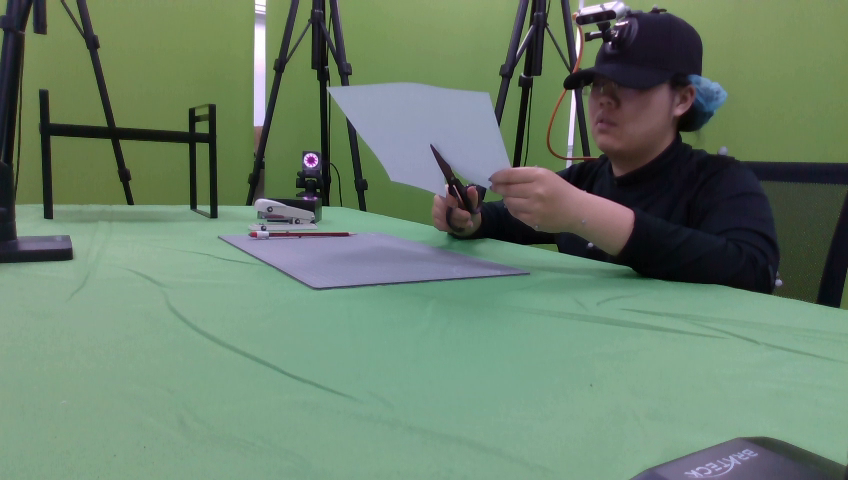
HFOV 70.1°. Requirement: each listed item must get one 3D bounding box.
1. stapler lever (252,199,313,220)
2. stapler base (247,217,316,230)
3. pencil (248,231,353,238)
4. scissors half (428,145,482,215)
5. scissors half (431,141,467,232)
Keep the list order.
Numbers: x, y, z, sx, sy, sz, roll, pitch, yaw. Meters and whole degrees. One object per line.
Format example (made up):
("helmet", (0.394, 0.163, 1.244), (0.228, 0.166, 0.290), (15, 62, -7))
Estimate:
("stapler lever", (-0.273, -0.058, 1.170), (0.119, 0.040, 0.026), (0, 10, -37))
("stapler base", (-0.276, -0.033, 1.172), (0.131, 0.024, 0.041), (0, 10, -37))
("pencil", (-0.206, -0.009, 1.039), (0.195, 0.012, 0.012), (0, 8, -36))
("scissors half", (0.050, -0.096, 0.960), (0.012, 0.040, 0.176), (26, -12, 43))
("scissors half", (0.037, -0.081, 0.953), (0.013, 0.175, 0.040), (20, 51, 41))
